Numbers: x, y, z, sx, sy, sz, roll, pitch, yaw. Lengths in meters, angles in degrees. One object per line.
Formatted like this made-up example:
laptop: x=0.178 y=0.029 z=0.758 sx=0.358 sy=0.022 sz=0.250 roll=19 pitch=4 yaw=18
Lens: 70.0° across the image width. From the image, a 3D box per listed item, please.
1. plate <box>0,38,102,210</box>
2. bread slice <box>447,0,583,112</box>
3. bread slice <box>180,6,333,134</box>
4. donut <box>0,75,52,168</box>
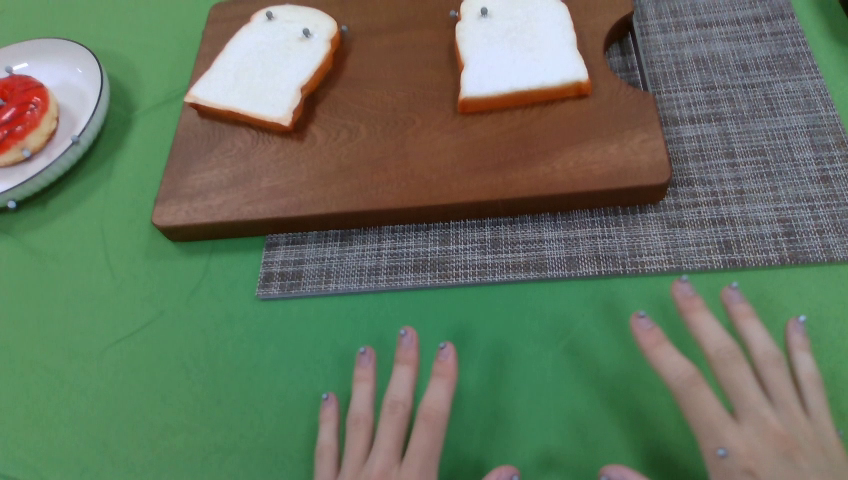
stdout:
plate: x=-0.403 y=-0.106 z=0.579 sx=0.209 sy=0.038 sz=0.207 roll=-4 pitch=60 yaw=8
bread slice: x=0.069 y=-0.168 z=0.509 sx=0.105 sy=0.019 sz=0.130 roll=-8 pitch=61 yaw=4
bread slice: x=-0.142 y=-0.155 z=0.540 sx=0.106 sy=0.018 sz=0.133 roll=13 pitch=65 yaw=17
donut: x=-0.400 y=-0.111 z=0.569 sx=0.099 sy=0.049 sz=0.098 roll=-5 pitch=61 yaw=10
